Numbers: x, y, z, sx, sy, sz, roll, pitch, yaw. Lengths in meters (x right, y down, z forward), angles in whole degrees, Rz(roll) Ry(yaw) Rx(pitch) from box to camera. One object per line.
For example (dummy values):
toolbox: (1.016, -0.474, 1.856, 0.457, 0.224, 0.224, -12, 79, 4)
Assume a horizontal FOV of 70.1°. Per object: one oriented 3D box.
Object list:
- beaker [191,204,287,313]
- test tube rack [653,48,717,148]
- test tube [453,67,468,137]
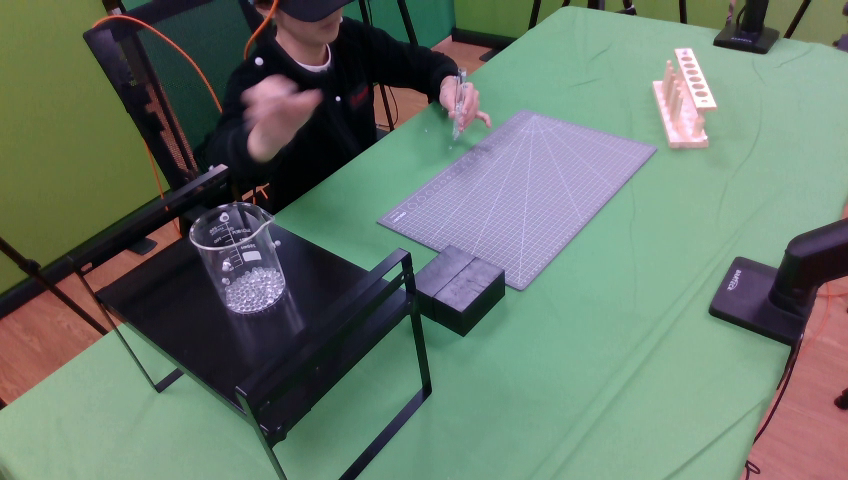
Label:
beaker: (-0.189, 0.021, 0.642, 0.084, 0.101, 0.073, -17, 41, -11)
test tube rack: (0.502, -0.281, 1.177, 0.066, 0.085, 0.241, 1, 41, 10)
test tube: (0.066, -0.248, 1.102, 0.017, 0.150, 0.017, 1, 50, -1)
